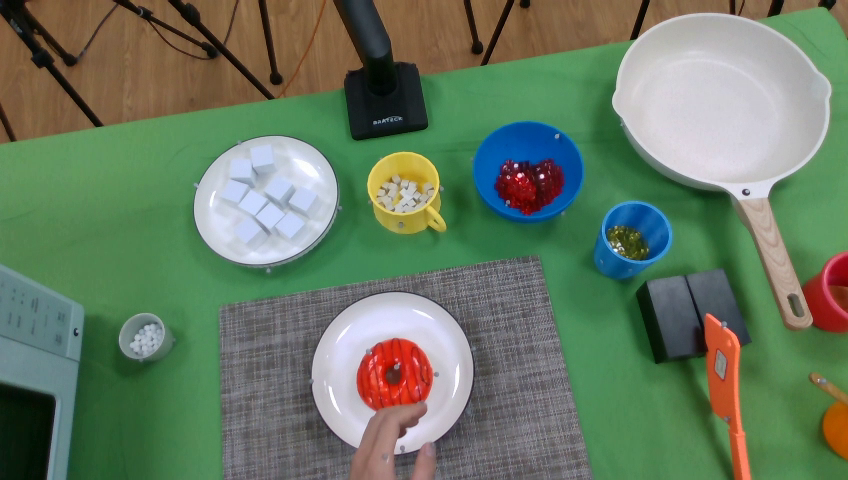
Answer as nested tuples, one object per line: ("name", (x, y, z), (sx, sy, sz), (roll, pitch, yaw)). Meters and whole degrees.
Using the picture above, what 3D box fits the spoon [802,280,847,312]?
("spoon", (0.569, 0.055, 0.735), (0.193, 0.022, 0.041), (-20, 60, 43))

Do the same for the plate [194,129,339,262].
("plate", (-0.224, -0.062, 0.878), (0.207, 0.039, 0.206), (-1, 69, 3))

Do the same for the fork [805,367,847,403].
("fork", (0.481, 0.186, 0.686), (0.209, 0.018, 0.028), (34, 68, -31))

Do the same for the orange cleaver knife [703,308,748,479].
("orange cleaver knife", (0.360, 0.188, 0.728), (0.012, 0.077, 0.212), (-10, 97, -1))

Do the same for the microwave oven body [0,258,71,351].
("microwave oven body", (-0.611, 0.253, 0.651), (0.326, 0.262, 0.438), (-6, 69, 0))

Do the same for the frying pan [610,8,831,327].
("frying pan", (0.422, -0.111, 0.828), (0.307, 0.103, 0.483), (-5, 61, 2))

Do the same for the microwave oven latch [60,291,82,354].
("microwave oven latch", (-0.476, 0.110, 0.803), (0.030, 0.030, 0.078), (-4, 69, 1))

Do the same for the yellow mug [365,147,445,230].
("yellow mug", (-0.018, -0.063, 0.853), (0.130, 0.064, 0.100), (42, 77, 16))

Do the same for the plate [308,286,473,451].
("plate", (-0.042, 0.163, 0.777), (0.209, 0.038, 0.207), (-1, 69, 3))

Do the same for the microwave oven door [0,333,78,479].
("microwave oven door", (-0.463, 0.275, 0.630), (0.039, 0.245, 0.353), (-6, 68, 1))

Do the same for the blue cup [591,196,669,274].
("blue cup", (0.261, 0.002, 0.794), (0.092, 0.101, 0.092), (0, 69, 1))

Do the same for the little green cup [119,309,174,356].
("little green cup", (-0.369, 0.126, 0.811), (0.061, 0.039, 0.061), (-1, 70, 3))

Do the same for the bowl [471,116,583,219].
("bowl", (0.140, -0.089, 0.848), (0.151, 0.077, 0.150), (-1, 69, 3))

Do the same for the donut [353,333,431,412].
("donut", (-0.040, 0.167, 0.764), (0.099, 0.048, 0.098), (-1, 72, 3))
